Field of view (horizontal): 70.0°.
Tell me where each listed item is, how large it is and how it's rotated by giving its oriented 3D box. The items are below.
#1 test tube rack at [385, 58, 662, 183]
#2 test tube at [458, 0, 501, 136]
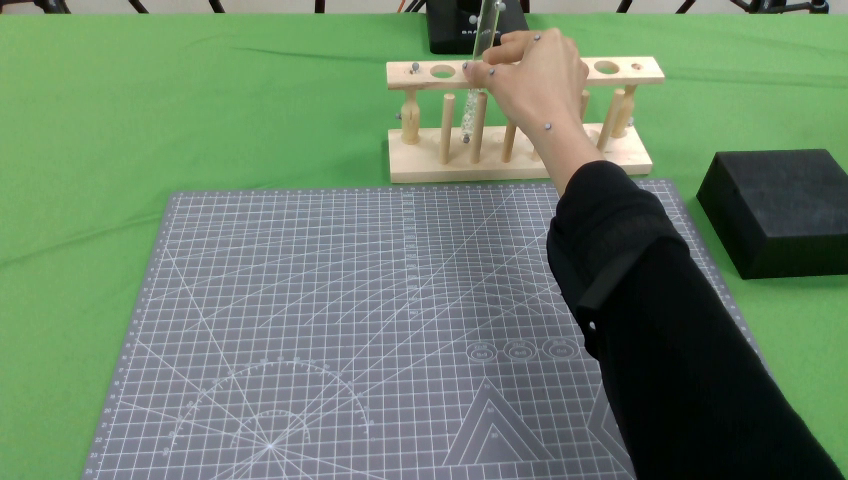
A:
[{"bbox_3d":[0.088,-0.109,0.551,0.243,0.086,0.066,-2,47,-4],"label":"test tube rack"},{"bbox_3d":[0.047,-0.152,0.521,0.017,0.151,0.017,5,45,-4],"label":"test tube"}]
